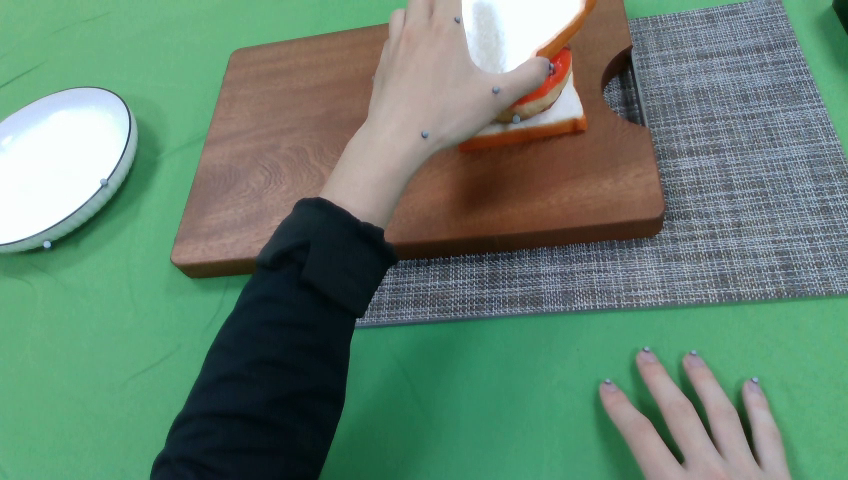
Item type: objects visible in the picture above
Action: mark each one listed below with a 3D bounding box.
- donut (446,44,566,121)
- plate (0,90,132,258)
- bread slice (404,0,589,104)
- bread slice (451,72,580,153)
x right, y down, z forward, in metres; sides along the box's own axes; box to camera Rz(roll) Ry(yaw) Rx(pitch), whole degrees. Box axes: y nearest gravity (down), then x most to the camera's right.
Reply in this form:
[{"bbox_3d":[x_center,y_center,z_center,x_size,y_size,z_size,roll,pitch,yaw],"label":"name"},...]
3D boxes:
[{"bbox_3d":[0.065,-0.140,0.492,0.099,0.049,0.098,-7,57,12],"label":"donut"},{"bbox_3d":[-0.393,-0.068,0.626,0.209,0.038,0.207,-7,57,11],"label":"plate"},{"bbox_3d":[0.062,-0.168,0.472,0.106,0.018,0.134,29,72,31],"label":"bread slice"},{"bbox_3d":[0.071,-0.136,0.526,0.105,0.019,0.130,-9,59,8],"label":"bread slice"}]
